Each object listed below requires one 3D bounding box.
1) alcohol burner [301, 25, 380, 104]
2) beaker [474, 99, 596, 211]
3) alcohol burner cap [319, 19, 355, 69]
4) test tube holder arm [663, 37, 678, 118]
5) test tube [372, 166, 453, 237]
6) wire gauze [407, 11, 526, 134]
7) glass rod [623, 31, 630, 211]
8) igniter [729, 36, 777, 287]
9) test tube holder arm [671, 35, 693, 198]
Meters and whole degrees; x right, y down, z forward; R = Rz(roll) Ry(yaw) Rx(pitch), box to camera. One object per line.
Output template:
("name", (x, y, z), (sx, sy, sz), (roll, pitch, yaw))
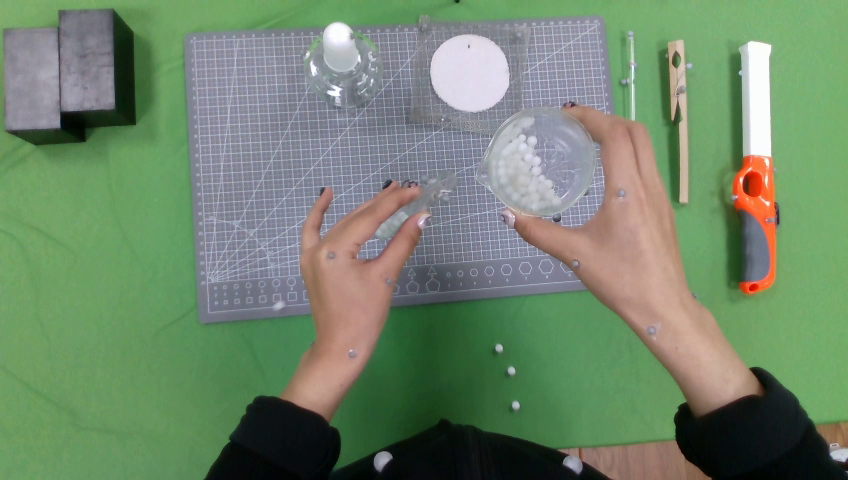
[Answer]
("alcohol burner", (-0.082, -0.176, 0.585), (0.078, 0.119, 0.077), (0, 85, -3))
("beaker", (0.083, -0.058, 0.457), (0.084, 0.100, 0.074), (-12, 91, 11))
("alcohol burner cap", (-0.080, -0.181, 0.549), (0.034, 0.048, 0.033), (1, 79, -5))
("test tube holder arm", (0.273, -0.179, 0.668), (0.010, 0.015, 0.087), (-6, 85, 33))
("test tube", (-0.014, -0.027, 0.487), (0.017, 0.150, 0.017), (6, 74, -21))
("wire gauze", (0.046, -0.181, 0.650), (0.125, 0.011, 0.121), (7, 86, -5))
("glass rod", (0.222, -0.130, 0.662), (0.008, 0.008, 0.199), (1, 87, -5))
("igniter", (0.358, -0.086, 0.661), (0.057, 0.025, 0.276), (3, 85, -15))
("test tube holder arm", (0.281, -0.135, 0.661), (0.013, 0.015, 0.178), (-7, 84, 32))
